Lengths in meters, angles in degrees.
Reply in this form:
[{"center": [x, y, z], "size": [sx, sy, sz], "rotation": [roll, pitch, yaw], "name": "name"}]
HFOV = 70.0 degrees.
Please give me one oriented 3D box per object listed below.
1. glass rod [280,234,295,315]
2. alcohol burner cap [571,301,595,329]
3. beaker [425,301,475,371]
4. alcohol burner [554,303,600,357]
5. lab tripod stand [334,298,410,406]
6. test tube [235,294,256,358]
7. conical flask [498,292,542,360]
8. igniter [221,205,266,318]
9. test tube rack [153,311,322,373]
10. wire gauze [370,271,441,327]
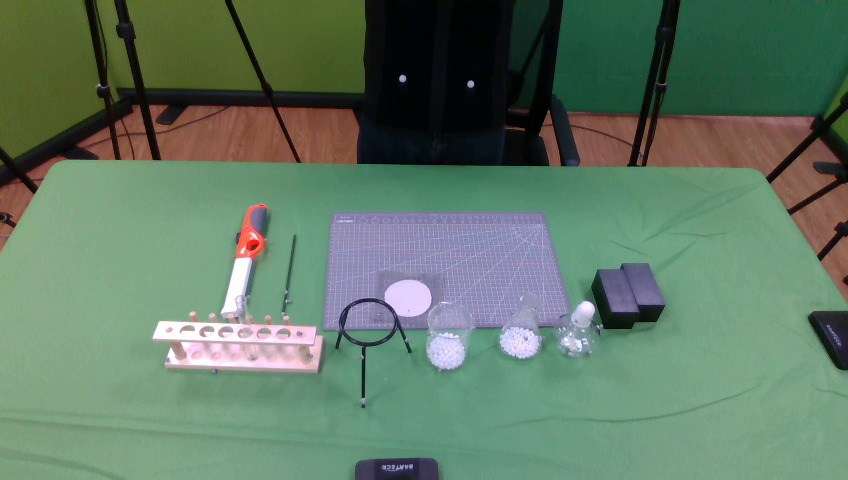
[{"center": [-0.253, 0.060, 1.132], "size": [0.008, 0.008, 0.198], "rotation": [0, 46, -3], "name": "glass rod"}, {"center": [0.262, 0.120, 0.991], "size": [0.034, 0.048, 0.033], "rotation": [2, 52, -2], "name": "alcohol burner cap"}, {"center": [0.038, 0.159, 0.996], "size": [0.074, 0.101, 0.083], "rotation": [-13, 48, -17], "name": "beaker"}, {"center": [0.260, 0.143, 1.018], "size": [0.078, 0.119, 0.077], "rotation": [3, 45, -3], "name": "alcohol burner"}, {"center": [-0.086, 0.164, 0.958], "size": [0.148, 0.132, 0.147], "rotation": [3, 44, -2], "name": "lab tripod stand"}, {"center": [-0.274, 0.136, 0.933], "size": [0.017, 0.151, 0.017], "rotation": [4, 46, -4], "name": "test tube"}, {"center": [0.167, 0.139, 1.010], "size": [0.075, 0.122, 0.075], "rotation": [2, 46, -2], "name": "conical flask"}, {"center": [-0.337, 0.030, 1.140], "size": [0.057, 0.025, 0.274], "rotation": [-6, 46, 4], "name": "igniter"}, {"center": [-0.293, 0.160, 0.978], "size": [0.242, 0.085, 0.066], "rotation": [3, 46, -2], "name": "test tube rack"}, {"center": [-0.032, 0.103, 1.104], "size": [0.125, 0.011, 0.121], "rotation": [4, 46, 3], "name": "wire gauze"}]
